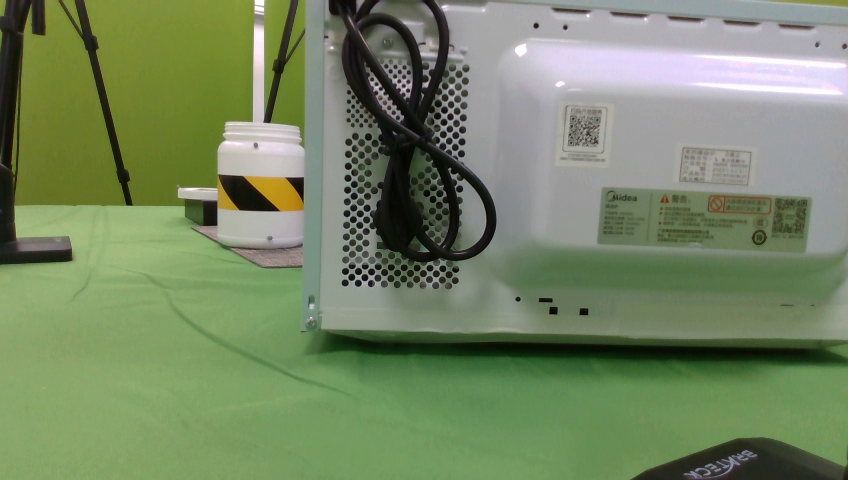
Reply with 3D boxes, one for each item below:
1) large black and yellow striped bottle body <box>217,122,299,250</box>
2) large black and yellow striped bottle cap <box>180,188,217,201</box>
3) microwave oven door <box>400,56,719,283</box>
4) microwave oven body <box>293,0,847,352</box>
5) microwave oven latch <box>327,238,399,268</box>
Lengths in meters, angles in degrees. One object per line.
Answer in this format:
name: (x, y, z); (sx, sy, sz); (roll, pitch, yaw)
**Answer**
large black and yellow striped bottle body: (-0.250, -0.084, 0.931); (0.131, 0.184, 0.130); (3, 7, 0)
large black and yellow striped bottle cap: (-0.434, -0.093, 1.226); (0.115, 0.019, 0.115); (3, 9, 0)
microwave oven door: (0.155, -0.077, 0.698); (0.356, 0.243, 0.039); (2, 8, -5)
microwave oven body: (0.122, -0.055, 0.550); (0.442, 0.260, 0.325); (3, 7, -5)
microwave oven latch: (-0.069, 0.015, 0.694); (0.079, 0.029, 0.030); (3, 7, -3)
